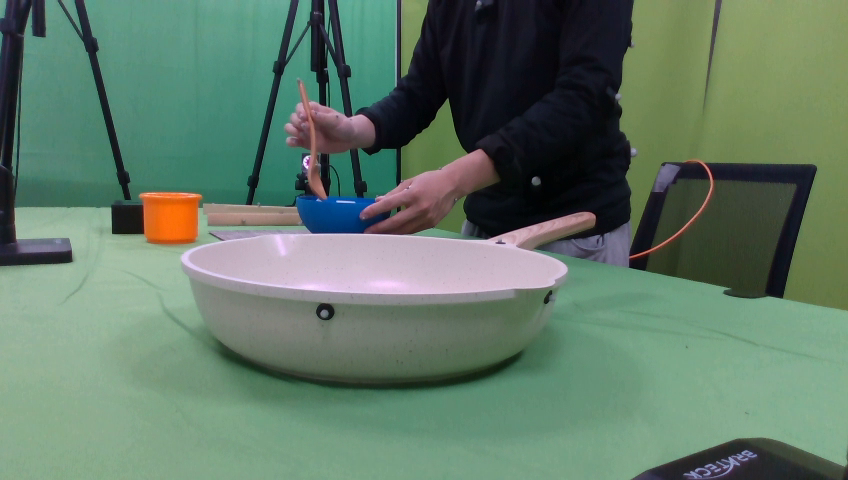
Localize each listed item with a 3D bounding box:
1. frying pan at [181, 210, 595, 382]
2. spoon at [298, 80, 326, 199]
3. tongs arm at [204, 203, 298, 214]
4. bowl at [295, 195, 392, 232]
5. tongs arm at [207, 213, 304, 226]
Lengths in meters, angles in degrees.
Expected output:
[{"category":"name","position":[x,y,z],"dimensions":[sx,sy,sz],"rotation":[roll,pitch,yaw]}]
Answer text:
[{"category":"frying pan","position":[0.034,0.019,0.557],"dimensions":[0.305,0.102,0.490],"rotation":[10,19,42]},{"category":"spoon","position":[-0.178,-0.159,0.956],"dimensions":[0.021,0.193,0.042],"rotation":[-8,-3,16]},{"category":"tongs arm","position":[-0.295,-0.062,1.370],"dimensions":[0.386,0.026,0.050],"rotation":[1,9,-19]},{"category":"bowl","position":[-0.126,-0.028,0.948],"dimensions":[0.151,0.077,0.151],"rotation":[3,7,0]},{"category":"tongs arm","position":[-0.264,-0.046,1.297],"dimensions":[0.390,0.028,0.028],"rotation":[-2,7,-32]}]
